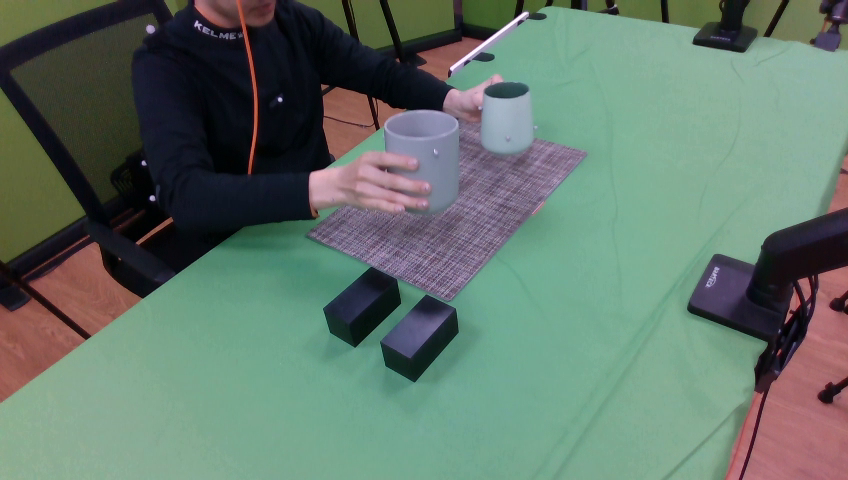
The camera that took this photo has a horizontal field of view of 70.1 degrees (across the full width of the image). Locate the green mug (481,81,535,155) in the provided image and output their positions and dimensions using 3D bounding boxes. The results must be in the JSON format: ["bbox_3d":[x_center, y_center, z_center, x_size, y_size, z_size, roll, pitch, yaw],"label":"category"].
[{"bbox_3d":[0.140,-0.217,1.051,0.093,0.105,0.124,-12,35,-9],"label":"green mug"}]

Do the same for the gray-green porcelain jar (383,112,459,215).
[{"bbox_3d":[-0.002,-0.107,0.875,0.106,0.127,0.105,-1,33,1],"label":"gray-green porcelain jar"}]
